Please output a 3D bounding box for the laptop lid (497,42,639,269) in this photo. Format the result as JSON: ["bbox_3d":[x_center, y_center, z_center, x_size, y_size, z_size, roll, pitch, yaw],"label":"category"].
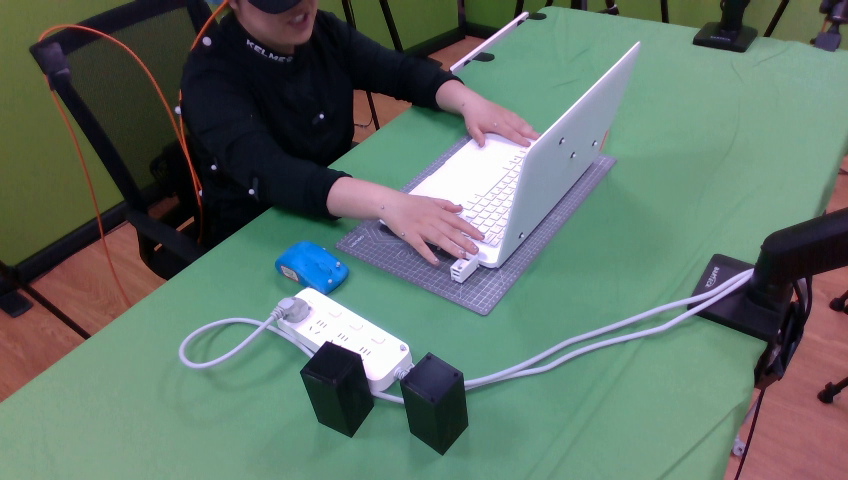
[{"bbox_3d":[0.221,-0.130,0.913,0.013,0.242,0.357,31,51,21],"label":"laptop lid"}]

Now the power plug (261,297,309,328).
[{"bbox_3d":[-0.192,0.107,0.831,0.073,0.053,0.035,-32,43,-25],"label":"power plug"}]

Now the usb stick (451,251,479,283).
[{"bbox_3d":[0.065,0.036,0.901,0.021,0.027,0.059,22,45,32],"label":"usb stick"}]

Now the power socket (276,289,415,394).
[{"bbox_3d":[-0.114,0.133,0.821,0.225,0.033,0.072,25,49,33],"label":"power socket"}]

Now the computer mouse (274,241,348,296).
[{"bbox_3d":[-0.175,0.040,0.936,0.116,0.041,0.063,26,48,27],"label":"computer mouse"}]

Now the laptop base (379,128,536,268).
[{"bbox_3d":[0.119,-0.089,1.058,0.233,0.023,0.355,19,47,32],"label":"laptop base"}]
